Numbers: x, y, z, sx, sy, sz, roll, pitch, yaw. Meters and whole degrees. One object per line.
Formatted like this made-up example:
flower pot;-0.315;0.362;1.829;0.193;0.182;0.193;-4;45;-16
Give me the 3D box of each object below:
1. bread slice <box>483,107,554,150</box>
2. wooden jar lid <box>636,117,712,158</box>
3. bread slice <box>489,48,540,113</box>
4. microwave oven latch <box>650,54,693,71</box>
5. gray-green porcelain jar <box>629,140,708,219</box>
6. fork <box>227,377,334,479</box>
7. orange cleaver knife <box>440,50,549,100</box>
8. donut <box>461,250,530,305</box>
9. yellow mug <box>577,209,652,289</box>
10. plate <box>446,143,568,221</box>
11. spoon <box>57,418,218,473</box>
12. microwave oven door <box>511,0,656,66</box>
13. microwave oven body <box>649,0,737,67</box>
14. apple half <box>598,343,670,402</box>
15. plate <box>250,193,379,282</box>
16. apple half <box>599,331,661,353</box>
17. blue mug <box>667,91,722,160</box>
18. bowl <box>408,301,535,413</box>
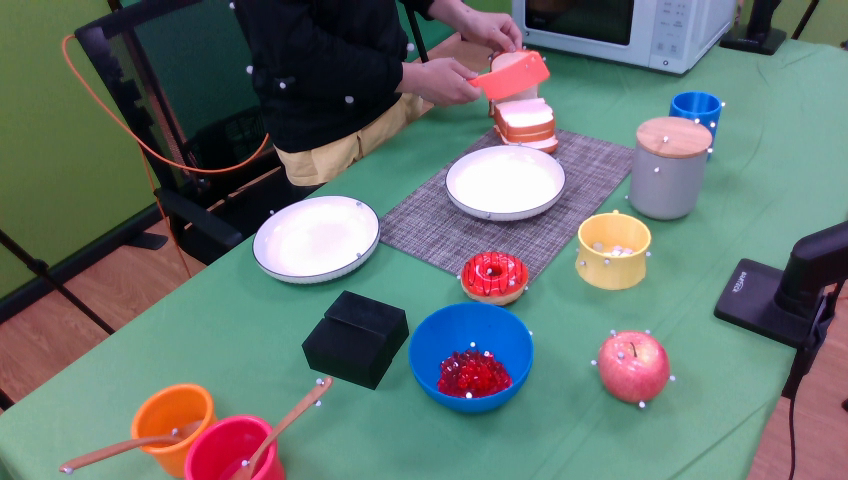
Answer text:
bread slice;0.186;-0.203;1.161;0.105;0.019;0.130;-21;44;-6
wooden jar lid;0.377;-0.151;0.917;0.108;0.021;0.108;-2;41;3
bread slice;0.186;-0.326;1.240;0.107;0.135;0.018;-1;36;5
microwave oven latch;0.531;-0.386;1.301;0.078;0.029;0.030;25;51;33
gray-green porcelain jar;0.383;-0.105;0.958;0.106;0.127;0.105;-4;41;4
fork;-0.162;0.216;0.647;0.207;0.019;0.028;-49;41;16
orange cleaver knife;0.139;-0.311;1.185;0.211;0.078;0.012;-16;46;8
donut;0.103;0.053;0.872;0.099;0.048;0.098;-5;40;4
yellow mug;0.279;0.004;0.893;0.099;0.064;0.130;5;41;15
plate;0.142;-0.097;1.045;0.207;0.039;0.206;-4;40;4
spoon;-0.304;0.221;0.661;0.041;0.195;0.021;21;93;27
microwave oven door;0.351;-0.540;1.349;0.353;0.245;0.039;24;50;31
microwave oven body;0.475;-0.602;1.411;0.438;0.261;0.327;23;50;32
apple half;0.247;0.161;0.710;0.081;0.075;0.053;2;47;5
plate;-0.174;-0.001;0.984;0.209;0.038;0.208;-4;40;4
apple half;0.249;0.134;0.738;0.081;0.081;0.032;-2;46;7
blue mug;0.474;-0.207;1.079;0.082;0.106;0.116;4;42;13
bowl;0.060;0.156;0.739;0.151;0.077;0.150;-4;40;4
